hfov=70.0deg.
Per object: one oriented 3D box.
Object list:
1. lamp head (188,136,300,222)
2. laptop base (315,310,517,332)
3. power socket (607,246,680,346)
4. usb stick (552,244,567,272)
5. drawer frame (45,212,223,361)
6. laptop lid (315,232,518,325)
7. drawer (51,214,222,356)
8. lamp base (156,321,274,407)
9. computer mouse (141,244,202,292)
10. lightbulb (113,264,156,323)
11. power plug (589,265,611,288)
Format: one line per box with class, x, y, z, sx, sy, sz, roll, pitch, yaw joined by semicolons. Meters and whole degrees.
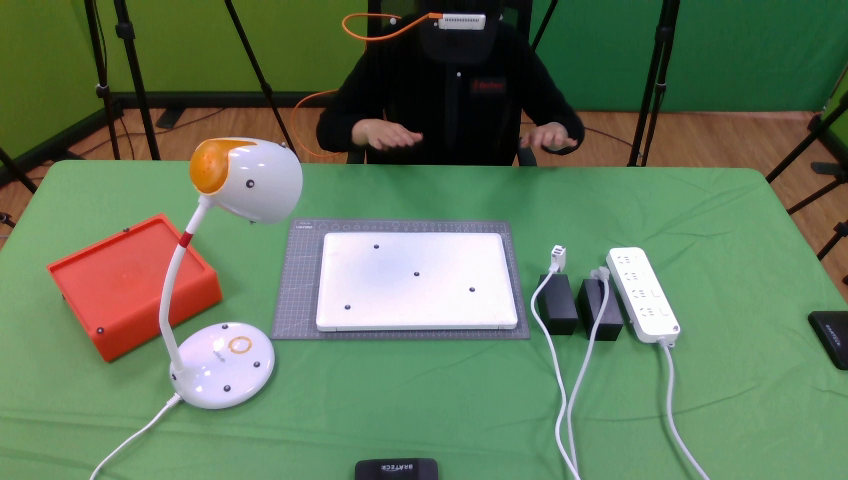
lamp head;-0.240;-0.081;0.773;0.112;0.112;0.123;35;15;27
laptop base;-0.016;0.075;1.125;0.355;0.023;0.234;0;42;-4
power socket;0.403;0.096;1.123;0.072;0.033;0.225;-2;46;-5
usb stick;0.251;0.039;1.124;0.021;0.059;0.027;14;47;24
drawer frame;-0.496;0.073;1.049;0.213;0.083;0.200;-33;56;-29
laptop lid;-0.015;0.065;1.118;0.357;0.013;0.240;1;43;-3
drawer;-0.495;0.072;1.053;0.212;0.073;0.193;-32;57;-29
lamp base;-0.328;0.151;0.916;0.160;0.181;0.179;29;53;22
computer mouse;-0.460;0.044;1.099;0.116;0.041;0.063;29;52;29
lightbulb;-0.494;0.091;1.045;0.059;0.060;0.107;9;62;5
power plug;0.318;0.073;1.108;0.035;0.053;0.072;26;34;13
